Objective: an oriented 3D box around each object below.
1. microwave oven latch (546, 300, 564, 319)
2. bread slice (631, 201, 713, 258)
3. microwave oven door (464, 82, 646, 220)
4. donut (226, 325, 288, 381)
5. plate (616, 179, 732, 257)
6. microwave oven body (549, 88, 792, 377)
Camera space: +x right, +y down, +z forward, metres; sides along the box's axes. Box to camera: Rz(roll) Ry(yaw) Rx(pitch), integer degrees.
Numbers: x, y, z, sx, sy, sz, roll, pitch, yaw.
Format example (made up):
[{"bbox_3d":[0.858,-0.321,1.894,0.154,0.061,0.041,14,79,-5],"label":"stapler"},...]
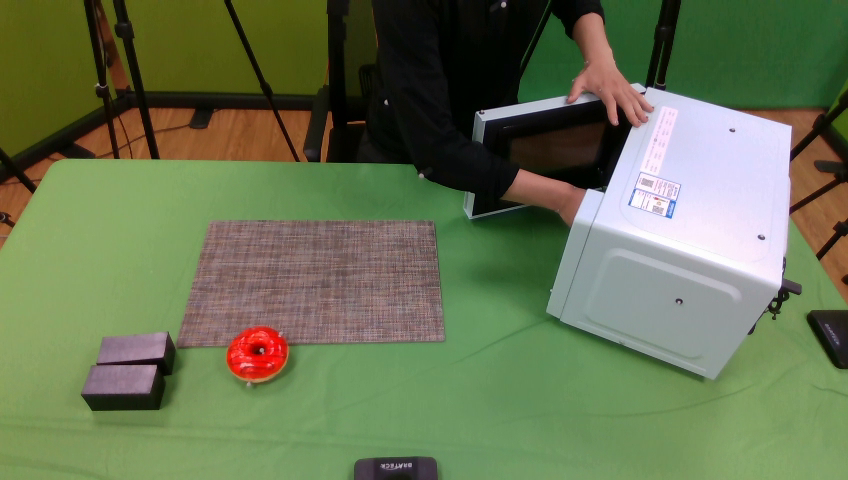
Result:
[{"bbox_3d":[0.242,0.102,1.081,0.030,0.029,0.079,22,48,17],"label":"microwave oven latch"},{"bbox_3d":[0.481,-0.029,1.164,0.131,0.019,0.104,-20,51,-1],"label":"bread slice"},{"bbox_3d":[0.258,-0.177,1.209,0.356,0.245,0.039,-14,48,-16],"label":"microwave oven door"},{"bbox_3d":[-0.270,0.182,0.984,0.099,0.048,0.098,5,49,-5],"label":"donut"},{"bbox_3d":[0.474,-0.039,1.161,0.208,0.039,0.206,-3,44,3],"label":"plate"},{"bbox_3d":[0.456,-0.028,1.088,0.325,0.261,0.440,20,47,16],"label":"microwave oven body"}]
